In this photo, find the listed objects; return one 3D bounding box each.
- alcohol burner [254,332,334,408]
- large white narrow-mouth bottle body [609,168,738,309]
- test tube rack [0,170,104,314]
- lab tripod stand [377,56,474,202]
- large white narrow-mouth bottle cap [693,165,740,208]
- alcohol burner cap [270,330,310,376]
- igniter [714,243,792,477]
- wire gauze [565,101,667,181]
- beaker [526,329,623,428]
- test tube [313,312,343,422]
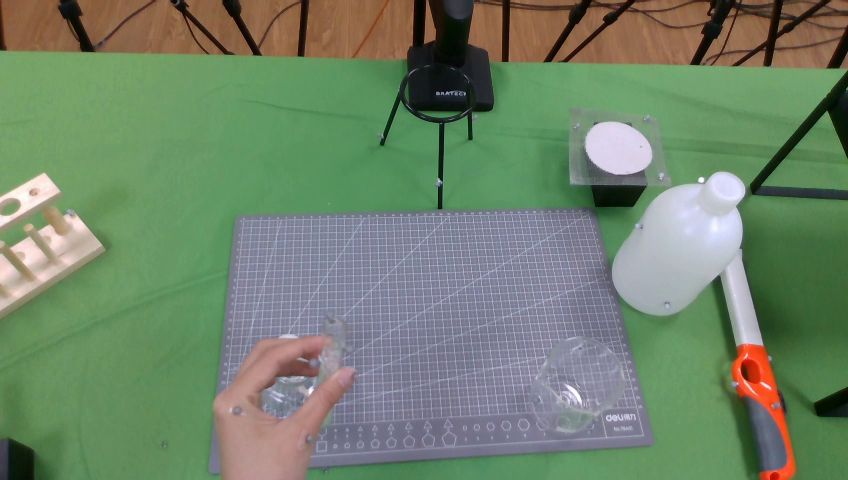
[{"bbox_3d":[-0.127,0.120,0.589,0.078,0.120,0.077,3,58,-5],"label":"alcohol burner"},{"bbox_3d":[0.274,-0.007,0.651,0.102,0.196,0.101,2,59,-3],"label":"large white narrow-mouth bottle body"},{"bbox_3d":[-0.475,0.037,0.626,0.242,0.086,0.066,-40,70,-24],"label":"test tube rack"},{"bbox_3d":[0.010,-0.142,0.743,0.148,0.132,0.147,3,61,-5],"label":"lab tripod stand"},{"bbox_3d":[0.279,-0.051,0.579,0.038,0.024,0.037,2,60,-3],"label":"large white narrow-mouth bottle cap"},{"bbox_3d":[-0.125,0.102,0.557,0.034,0.048,0.033,1,54,-1],"label":"alcohol burner cap"},{"bbox_3d":[0.363,0.122,0.681,0.057,0.025,0.274,10,59,-11],"label":"igniter"},{"bbox_3d":[0.239,-0.125,0.768,0.121,0.011,0.124,5,59,-2],"label":"wire gauze"},{"bbox_3d":[0.142,0.143,0.606,0.084,0.101,0.073,-5,60,-6],"label":"beaker"},{"bbox_3d":[-0.070,0.097,0.435,0.017,0.151,0.017,6,51,-7],"label":"test tube"}]
